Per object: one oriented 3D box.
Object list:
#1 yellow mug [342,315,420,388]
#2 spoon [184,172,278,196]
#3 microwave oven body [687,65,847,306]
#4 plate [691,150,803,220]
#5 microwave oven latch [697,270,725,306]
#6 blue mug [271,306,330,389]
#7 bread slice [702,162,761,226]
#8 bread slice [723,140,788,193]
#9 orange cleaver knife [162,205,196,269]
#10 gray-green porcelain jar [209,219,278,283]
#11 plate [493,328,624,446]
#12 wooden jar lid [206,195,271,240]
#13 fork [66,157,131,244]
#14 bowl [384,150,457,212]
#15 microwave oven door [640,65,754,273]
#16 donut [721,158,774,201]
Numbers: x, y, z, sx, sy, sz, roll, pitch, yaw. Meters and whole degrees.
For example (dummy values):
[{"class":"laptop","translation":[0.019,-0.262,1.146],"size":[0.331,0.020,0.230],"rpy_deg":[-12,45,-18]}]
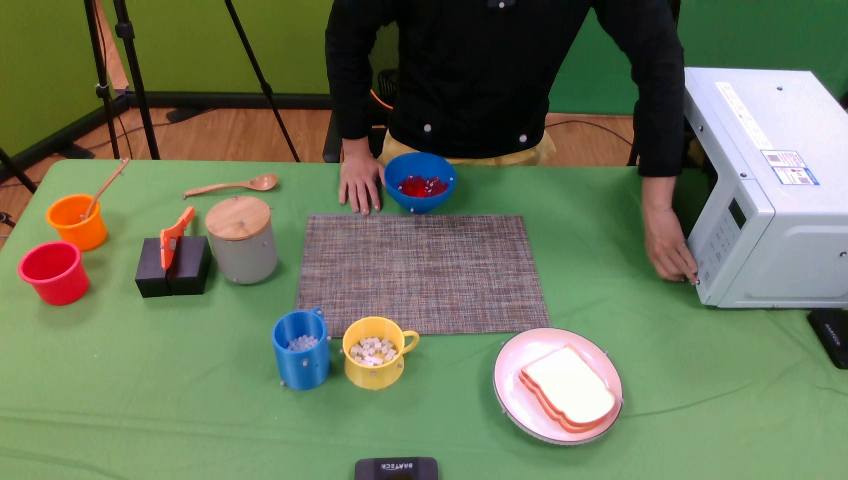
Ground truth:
[{"class":"yellow mug","translation":[-0.067,0.177,0.990],"size":[0.131,0.064,0.099],"rpy_deg":[-15,50,-19]},{"class":"spoon","translation":[-0.405,-0.116,1.275],"size":[0.194,0.022,0.041],"rpy_deg":[-8,65,-12]},{"class":"microwave oven body","translation":[0.669,-0.111,1.176],"size":[0.326,0.261,0.439],"rpy_deg":[0,46,-3]},{"class":"plate","translation":[0.653,-0.108,1.237],"size":[0.209,0.038,0.208],"rpy_deg":[0,45,1]},{"class":"microwave oven latch","translation":[0.525,0.082,1.115],"size":[0.030,0.029,0.078],"rpy_deg":[6,46,3]},{"class":"blue mug","translation":[-0.188,0.163,0.969],"size":[0.082,0.106,0.116],"rpy_deg":[15,47,10]},{"class":"bread slice","translation":[0.647,-0.102,1.267],"size":[0.105,0.019,0.131],"rpy_deg":[15,72,12]},{"class":"bread slice","translation":[0.661,-0.147,1.201],"size":[0.107,0.018,0.133],"rpy_deg":[0,53,9]},{"class":"orange cleaver knife","translation":[-0.454,-0.010,1.129],"size":[0.012,0.077,0.210],"rpy_deg":[-2,20,-5]},{"class":"gray-green porcelain jar","translation":[-0.323,0.007,1.092],"size":[0.106,0.127,0.105],"rpy_deg":[2,46,-2]},{"class":"plate","translation":[0.213,0.236,0.974],"size":[0.208,0.039,0.206],"rpy_deg":[2,46,-2]},{"class":"wooden jar lid","translation":[-0.319,-0.036,1.046],"size":[0.108,0.021,0.107],"rpy_deg":[1,44,0]},{"class":"fork","translation":[-0.608,-0.074,1.133],"size":[0.207,0.019,0.028],"rpy_deg":[-52,50,10]},{"class":"bowl","translation":[-0.009,-0.112,1.262],"size":[0.151,0.077,0.150],"rpy_deg":[2,46,-2]},{"class":"microwave oven door","translation":[0.523,-0.147,1.193],"size":[0.039,0.245,0.353],"rpy_deg":[0,47,-3]},{"class":"donut","translation":[0.648,-0.121,1.216],"size":[0.099,0.048,0.098],"rpy_deg":[-3,56,4]}]
